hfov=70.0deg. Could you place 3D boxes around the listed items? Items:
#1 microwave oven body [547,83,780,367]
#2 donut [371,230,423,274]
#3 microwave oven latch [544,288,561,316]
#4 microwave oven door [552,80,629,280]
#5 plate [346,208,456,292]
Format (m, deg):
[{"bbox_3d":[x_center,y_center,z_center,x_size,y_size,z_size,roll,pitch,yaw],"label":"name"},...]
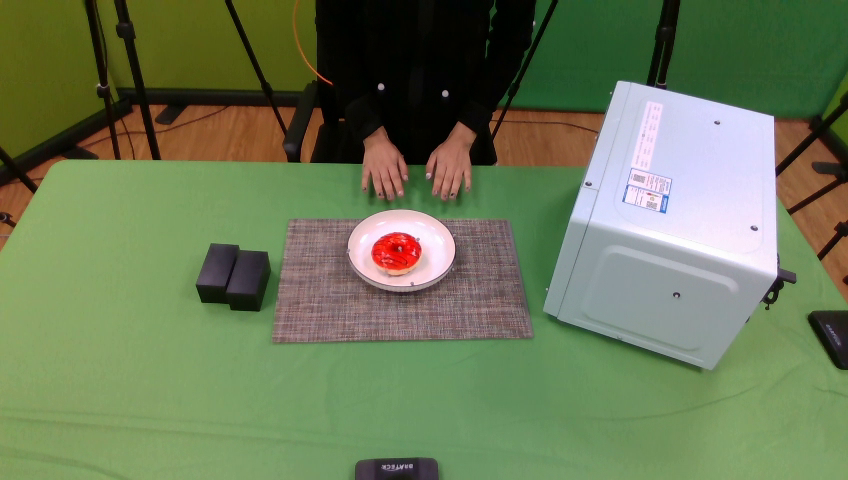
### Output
[{"bbox_3d":[0.444,-0.041,1.101,0.325,0.261,0.440,17,47,13],"label":"microwave oven body"},{"bbox_3d":[-0.051,0.022,1.142,0.099,0.048,0.098,0,45,0],"label":"donut"},{"bbox_3d":[0.237,0.098,1.087,0.030,0.029,0.079,18,47,14],"label":"microwave oven latch"},{"bbox_3d":[0.324,-0.116,1.156,0.039,0.245,0.354,18,48,13],"label":"microwave oven door"},{"bbox_3d":[-0.044,0.021,1.159,0.209,0.038,0.208,2,47,-2],"label":"plate"}]
